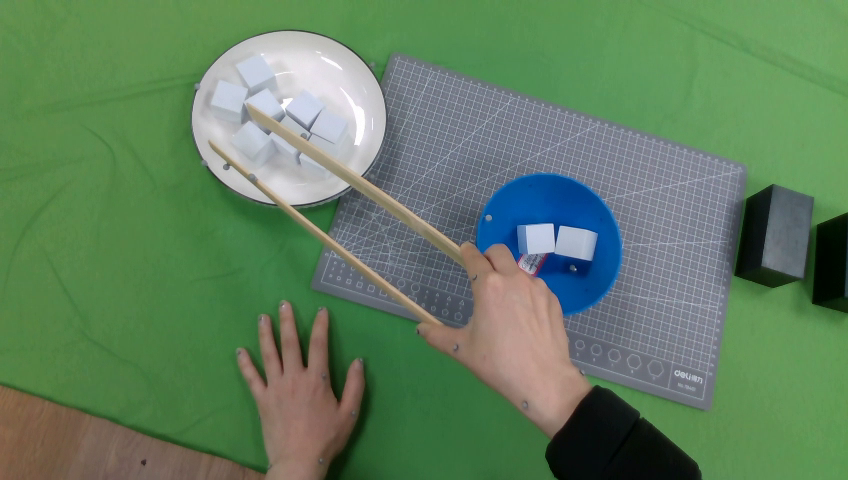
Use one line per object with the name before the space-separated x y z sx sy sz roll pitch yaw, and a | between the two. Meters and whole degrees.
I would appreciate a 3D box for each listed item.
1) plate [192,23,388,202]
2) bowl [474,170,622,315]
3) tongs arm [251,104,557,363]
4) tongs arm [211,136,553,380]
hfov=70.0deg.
plate | -0.144 -0.137 0.667 0.208 0.039 0.206 1 76 -5
bowl | 0.121 0.010 0.638 0.151 0.077 0.150 2 76 -6
tongs arm | -0.033 -0.022 0.547 0.384 0.028 0.028 37 65 22
tongs arm | -0.054 -0.001 0.536 0.382 0.027 0.050 39 69 22
